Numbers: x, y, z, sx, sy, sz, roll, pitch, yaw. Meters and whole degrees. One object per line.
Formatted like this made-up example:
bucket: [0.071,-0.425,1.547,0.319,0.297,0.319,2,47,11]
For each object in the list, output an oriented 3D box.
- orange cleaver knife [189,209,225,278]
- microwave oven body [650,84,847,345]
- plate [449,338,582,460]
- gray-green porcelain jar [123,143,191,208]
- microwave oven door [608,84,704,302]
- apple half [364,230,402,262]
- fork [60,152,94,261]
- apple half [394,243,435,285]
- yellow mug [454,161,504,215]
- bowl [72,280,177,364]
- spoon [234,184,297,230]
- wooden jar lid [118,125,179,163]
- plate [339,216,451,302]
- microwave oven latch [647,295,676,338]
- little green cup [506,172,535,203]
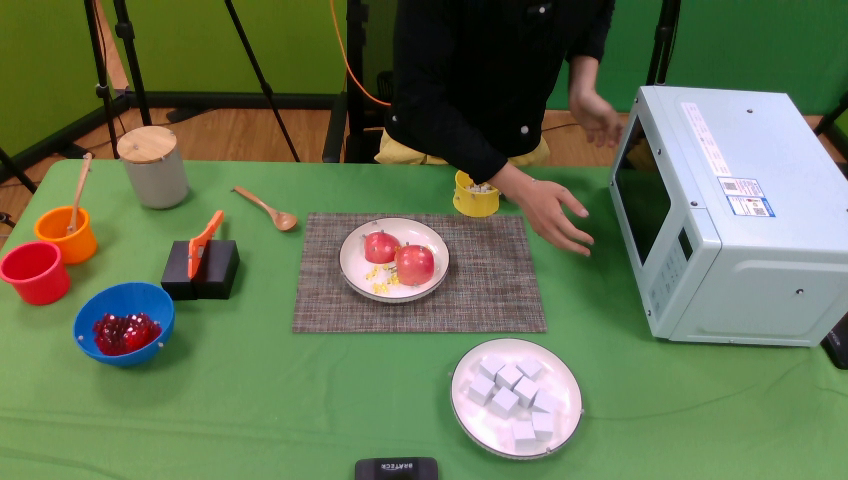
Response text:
orange cleaver knife: [-0.401,0.002,1.122,0.012,0.077,0.210,4,23,-4]
microwave oven body: [0.569,-0.054,1.116,0.326,0.261,0.439,2,46,-1]
plate: [0.141,0.251,0.956,0.208,0.039,0.206,2,47,-2]
gray-green porcelain jar: [-0.531,-0.137,1.214,0.106,0.127,0.105,2,47,-2]
microwave oven door: [0.424,-0.096,1.138,0.039,0.245,0.353,3,46,-1]
apple half: [-0.079,0.004,1.159,0.081,0.033,0.081,3,49,-3]
fork: [-0.638,-0.063,1.120,0.028,0.018,0.207,12,90,7]
apple half: [-0.016,0.036,1.120,0.075,0.053,0.080,1,46,-6]
yellow mug: [0.118,-0.118,1.283,0.100,0.064,0.130,8,43,6]
bowl: [-0.473,0.146,0.982,0.151,0.077,0.150,2,46,-2]
spoon: [-0.327,-0.073,1.240,0.193,0.022,0.041,34,70,25]
wooden jar lid: [-0.528,-0.181,1.167,0.108,0.021,0.107,4,48,-4]
plate: [-0.054,0.038,1.138,0.209,0.038,0.208,2,46,-2]
microwave oven latch: [0.413,0.133,1.060,0.030,0.029,0.078,4,46,1]
little green cup: [0.205,-0.111,1.301,0.061,0.039,0.061,3,46,-3]
